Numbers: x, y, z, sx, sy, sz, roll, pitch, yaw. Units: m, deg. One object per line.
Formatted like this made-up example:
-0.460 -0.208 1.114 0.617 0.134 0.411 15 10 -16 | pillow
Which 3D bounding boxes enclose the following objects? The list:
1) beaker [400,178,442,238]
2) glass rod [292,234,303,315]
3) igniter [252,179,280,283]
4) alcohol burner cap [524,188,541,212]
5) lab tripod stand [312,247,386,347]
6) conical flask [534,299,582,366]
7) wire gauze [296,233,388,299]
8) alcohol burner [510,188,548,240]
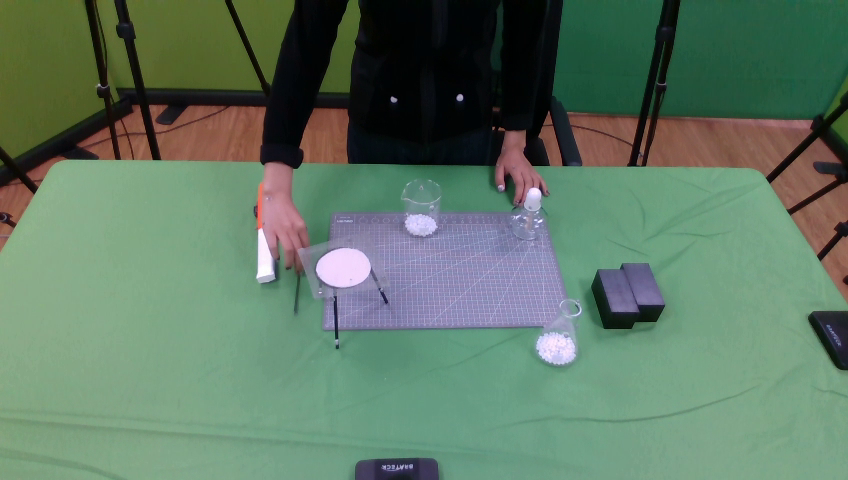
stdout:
-0.008 -0.059 1.200 0.084 0.101 0.073 -14 48 -17 | beaker
-0.236 0.060 1.133 0.008 0.008 0.198 -1 46 -4 | glass rod
-0.313 -0.027 1.197 0.057 0.025 0.274 -12 47 -1 | igniter
0.212 -0.081 1.177 0.034 0.048 0.033 -2 54 3 | alcohol burner cap
-0.134 0.085 1.028 0.148 0.132 0.147 2 45 -1 | lab tripod stand
0.229 0.149 1.005 0.075 0.122 0.075 2 46 -2 | conical flask
-0.133 0.041 0.977 0.125 0.011 0.120 -12 47 -16 | wire gauze
0.211 -0.057 1.204 0.078 0.120 0.077 1 47 -1 | alcohol burner
